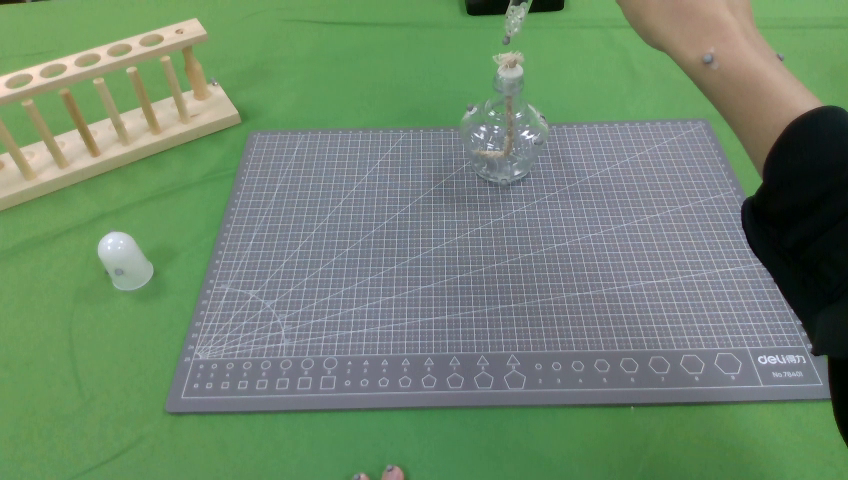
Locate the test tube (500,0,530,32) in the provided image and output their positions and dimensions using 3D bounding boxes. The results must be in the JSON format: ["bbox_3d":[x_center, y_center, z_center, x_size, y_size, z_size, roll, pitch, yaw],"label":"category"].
[{"bbox_3d":[0.082,-0.211,0.410,0.017,0.151,0.017,10,46,-10],"label":"test tube"}]

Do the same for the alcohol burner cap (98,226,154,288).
[{"bbox_3d":[-0.235,0.011,0.473,0.034,0.048,0.033,-1,49,1],"label":"alcohol burner cap"}]

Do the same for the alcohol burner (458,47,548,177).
[{"bbox_3d":[0.069,-0.112,0.516,0.078,0.120,0.077,0,50,0],"label":"alcohol burner"}]

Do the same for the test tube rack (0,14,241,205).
[{"bbox_3d":[-0.306,-0.122,0.561,0.242,0.086,0.066,-25,53,-19],"label":"test tube rack"}]

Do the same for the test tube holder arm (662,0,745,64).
[{"bbox_3d":[0.133,-0.176,0.382,0.013,0.015,0.177,-31,74,-33],"label":"test tube holder arm"}]
